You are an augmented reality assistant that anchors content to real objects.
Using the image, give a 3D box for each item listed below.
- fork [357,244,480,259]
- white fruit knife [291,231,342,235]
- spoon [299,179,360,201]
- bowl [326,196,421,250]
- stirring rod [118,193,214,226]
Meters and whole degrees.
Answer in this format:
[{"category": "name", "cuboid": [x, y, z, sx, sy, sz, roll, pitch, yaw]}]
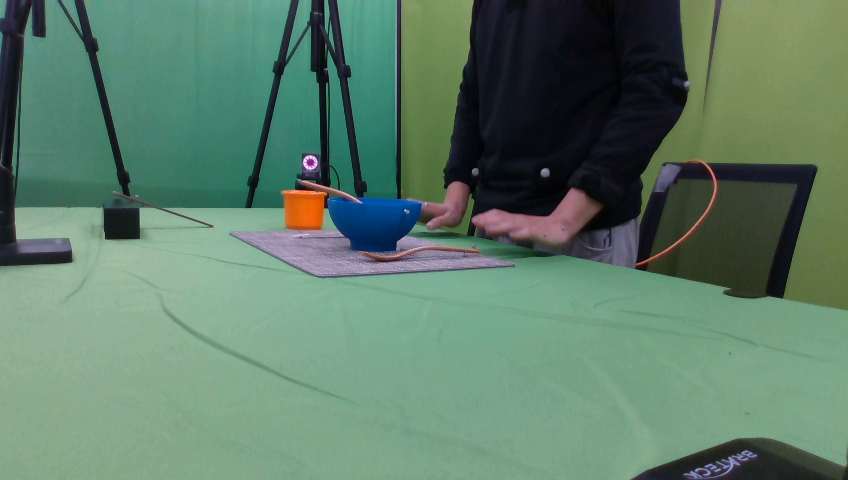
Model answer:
[{"category": "fork", "cuboid": [-0.001, 0.016, 0.876, 0.208, 0.018, 0.028, -4, -1, -33]}, {"category": "white fruit knife", "cuboid": [-0.139, -0.015, 1.092, 0.208, 0.016, 0.027, -3, -2, -29]}, {"category": "spoon", "cuboid": [-0.124, -0.068, 0.993, 0.193, 0.021, 0.042, 25, 9, 17]}, {"category": "bowl", "cuboid": [-0.080, -0.027, 0.957, 0.151, 0.077, 0.151, 2, 7, 0]}, {"category": "stirring rod", "cuboid": [-0.484, -0.056, 1.142, 0.177, 0.006, 0.014, 21, -6, -28]}]
